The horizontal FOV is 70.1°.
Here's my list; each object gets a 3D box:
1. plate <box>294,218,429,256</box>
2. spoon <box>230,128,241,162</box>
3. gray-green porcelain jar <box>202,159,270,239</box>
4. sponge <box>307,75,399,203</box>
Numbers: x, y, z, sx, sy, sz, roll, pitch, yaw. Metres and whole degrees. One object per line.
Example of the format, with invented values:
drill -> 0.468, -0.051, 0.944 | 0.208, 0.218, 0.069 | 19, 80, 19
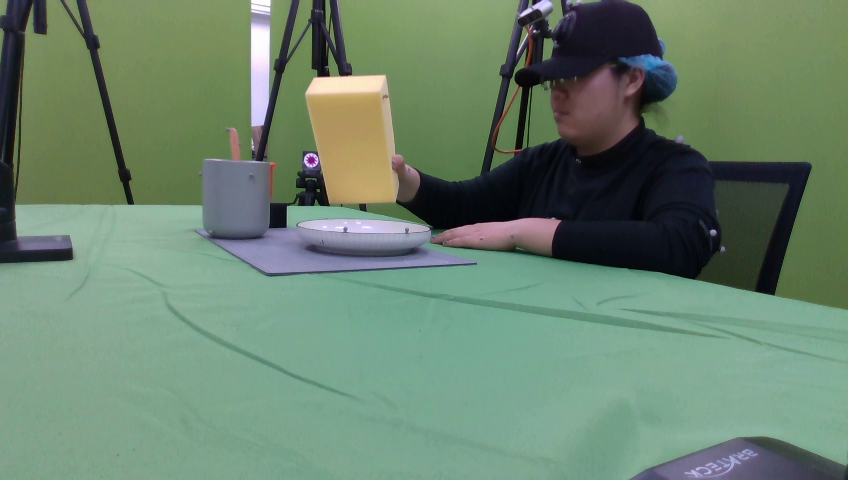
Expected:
plate -> -0.096, -0.005, 0.936 | 0.208, 0.039, 0.207 | 3, 7, 0
spoon -> -0.314, -0.108, 1.025 | 0.042, 0.193, 0.021 | -5, -19, -16
gray-green porcelain jar -> -0.310, -0.068, 0.999 | 0.106, 0.126, 0.106 | 3, 8, 0
sponge -> -0.111, -0.160, 0.992 | 0.118, 0.207, 0.061 | 0, 39, 6
